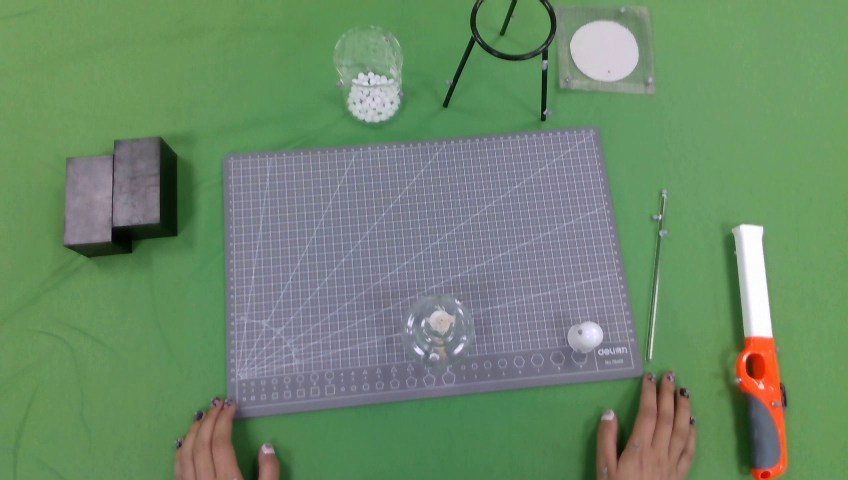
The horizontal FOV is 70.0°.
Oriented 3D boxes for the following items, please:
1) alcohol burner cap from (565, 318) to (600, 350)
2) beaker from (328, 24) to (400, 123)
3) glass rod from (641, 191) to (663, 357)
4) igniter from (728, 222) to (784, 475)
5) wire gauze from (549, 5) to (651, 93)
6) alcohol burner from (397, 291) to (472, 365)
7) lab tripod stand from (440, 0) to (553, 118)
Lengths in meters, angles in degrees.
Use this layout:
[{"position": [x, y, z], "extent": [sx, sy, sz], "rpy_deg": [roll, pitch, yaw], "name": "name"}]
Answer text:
[{"position": [0.174, 0.101, 0.656], "extent": [0.034, 0.048, 0.033], "rpy_deg": [0, 74, -1], "name": "alcohol burner cap"}, {"position": [-0.062, -0.184, 0.693], "extent": [0.084, 0.100, 0.074], "rpy_deg": [40, 78, 7], "name": "beaker"}, {"position": [0.262, 0.036, 0.697], "extent": [0.008, 0.008, 0.199], "rpy_deg": [11, 76, 1], "name": "glass rod"}, {"position": [0.365, 0.114, 0.671], "extent": [0.057, 0.025, 0.275], "rpy_deg": [6, 75, -13], "name": "igniter"}, {"position": [0.223, -0.244, 0.767], "extent": [0.125, 0.011, 0.121], "rpy_deg": [2, 75, 0], "name": "wire gauze"}, {"position": [0.012, 0.087, 0.617], "extent": [0.078, 0.119, 0.077], "rpy_deg": [1, 73, -2], "name": "alcohol burner"}, {"position": [0.087, -0.214, 0.689], "extent": [0.148, 0.132, 0.147], "rpy_deg": [0, 74, 0], "name": "lab tripod stand"}]
